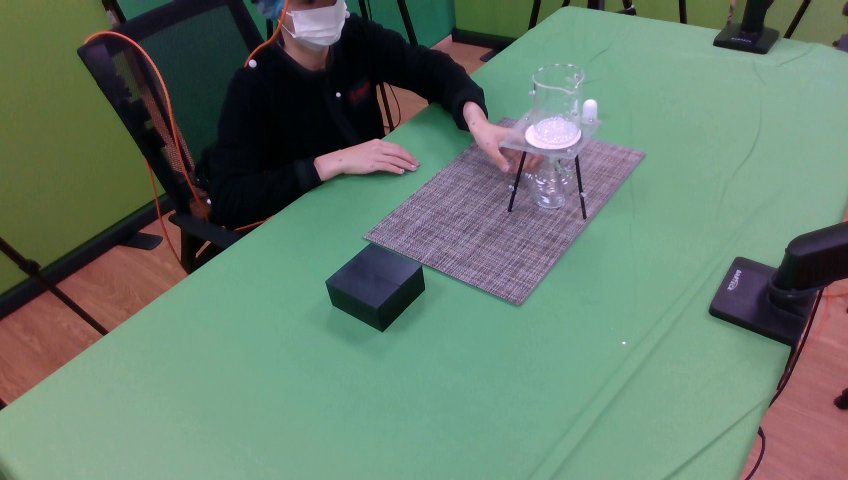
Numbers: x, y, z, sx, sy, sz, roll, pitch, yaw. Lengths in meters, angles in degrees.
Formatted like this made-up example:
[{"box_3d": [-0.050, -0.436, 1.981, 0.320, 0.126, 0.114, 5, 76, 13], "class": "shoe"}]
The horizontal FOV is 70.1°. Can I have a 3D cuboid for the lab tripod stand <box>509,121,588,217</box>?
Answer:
[{"box_3d": [0.208, -0.114, 0.983, 0.148, 0.132, 0.147, -5, 42, 5], "class": "lab tripod stand"}]

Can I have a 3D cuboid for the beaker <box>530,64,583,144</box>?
[{"box_3d": [0.201, -0.201, 0.909, 0.074, 0.101, 0.083, -19, 43, -10], "class": "beaker"}]

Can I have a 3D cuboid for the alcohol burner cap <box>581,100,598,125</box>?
[{"box_3d": [0.331, -0.258, 1.210, 0.034, 0.048, 0.033, -5, 41, 4], "class": "alcohol burner cap"}]

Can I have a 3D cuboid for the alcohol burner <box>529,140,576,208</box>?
[{"box_3d": [0.211, -0.112, 0.995, 0.078, 0.119, 0.077, -6, 41, 6], "class": "alcohol burner"}]

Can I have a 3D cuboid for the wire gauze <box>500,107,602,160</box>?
[{"box_3d": [0.199, -0.166, 0.945, 0.120, 0.011, 0.125, 17, 50, 28], "class": "wire gauze"}]
